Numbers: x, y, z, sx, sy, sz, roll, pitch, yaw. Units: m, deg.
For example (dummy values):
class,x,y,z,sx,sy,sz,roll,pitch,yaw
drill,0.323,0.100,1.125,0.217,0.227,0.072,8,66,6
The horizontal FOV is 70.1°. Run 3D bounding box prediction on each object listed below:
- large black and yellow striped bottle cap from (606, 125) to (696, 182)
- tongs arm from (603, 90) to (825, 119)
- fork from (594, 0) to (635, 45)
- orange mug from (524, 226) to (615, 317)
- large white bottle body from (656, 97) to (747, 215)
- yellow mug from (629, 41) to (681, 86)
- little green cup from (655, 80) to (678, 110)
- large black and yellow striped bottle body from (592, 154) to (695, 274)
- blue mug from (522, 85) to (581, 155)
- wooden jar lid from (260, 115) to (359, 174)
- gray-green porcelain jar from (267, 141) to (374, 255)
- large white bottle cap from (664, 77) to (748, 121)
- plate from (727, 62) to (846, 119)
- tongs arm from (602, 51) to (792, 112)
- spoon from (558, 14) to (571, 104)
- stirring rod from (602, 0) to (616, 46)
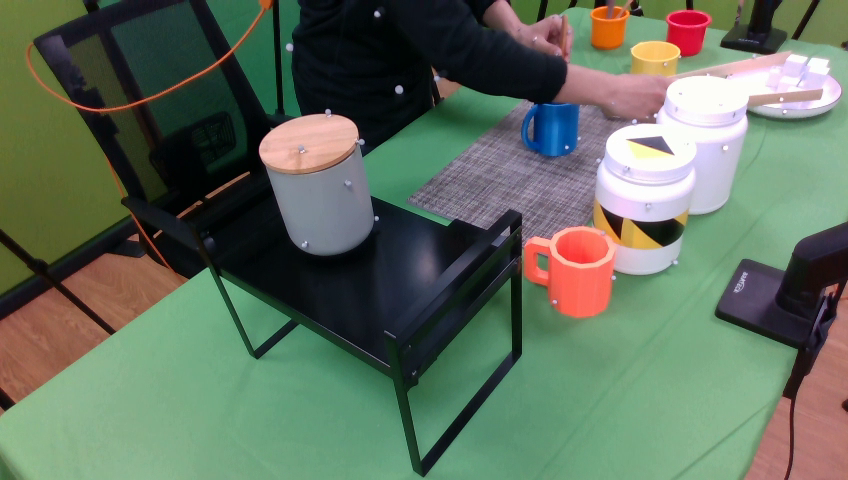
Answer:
class,x,y,z,sx,sy,sz,roll,pitch,yaw
large black and yellow striped bottle cap,0.305,-0.119,0.816,0.115,0.019,0.114,-5,41,5
tongs arm,0.546,-0.262,1.162,0.386,0.028,0.028,-1,49,18
fork,0.484,-0.552,1.447,0.207,0.019,0.028,-51,47,17
orange mug,0.201,0.039,0.845,0.125,0.101,0.083,18,46,21
large white bottle body,0.431,-0.148,0.959,0.130,0.185,0.130,-4,41,4
yellow mug,0.495,-0.389,1.321,0.100,0.064,0.130,-14,40,-6
little green cup,0.439,-0.253,1.070,0.061,0.039,0.061,-8,38,7
large black and yellow striped bottle body,0.313,-0.056,0.872,0.131,0.185,0.130,-4,41,4
blue mug,0.234,-0.219,1.127,0.117,0.106,0.081,-21,42,-15
wooden jar lid,-0.123,-0.101,0.662,0.108,0.021,0.108,-4,41,4
gray-green porcelain jar,-0.116,-0.054,0.703,0.106,0.127,0.105,-4,40,4
large white bottle cap,0.421,-0.212,0.905,0.115,0.018,0.114,-4,40,4
plate,0.710,-0.292,1.197,0.207,0.039,0.206,-4,40,4
tongs arm,0.552,-0.319,1.224,0.384,0.027,0.050,-10,44,7
spoon,0.254,-0.308,1.102,0.022,0.194,0.041,-12,21,-17
stirring rod,0.452,-0.554,1.464,0.014,0.006,0.176,11,86,15
